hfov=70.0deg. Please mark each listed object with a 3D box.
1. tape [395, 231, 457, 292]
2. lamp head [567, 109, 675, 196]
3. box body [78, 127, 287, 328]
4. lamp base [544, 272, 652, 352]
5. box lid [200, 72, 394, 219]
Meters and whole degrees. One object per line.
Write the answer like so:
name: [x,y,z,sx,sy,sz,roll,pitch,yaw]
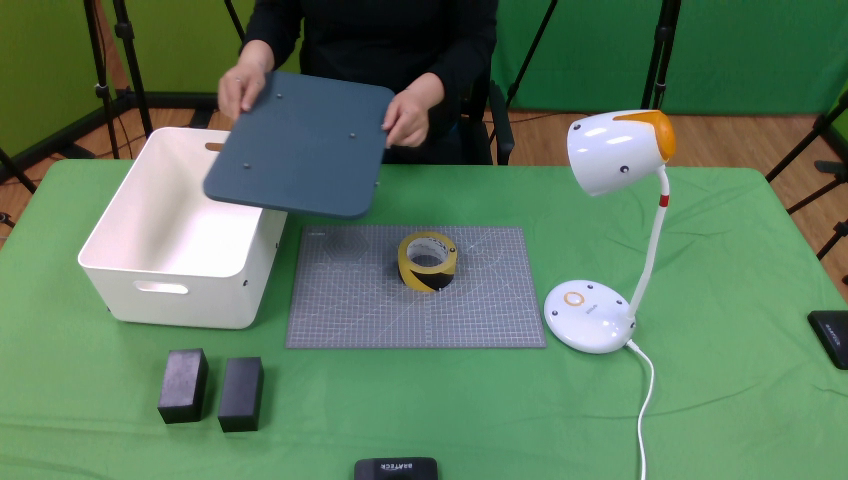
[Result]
tape: [0.005,0.039,1.136,0.117,0.053,0.116,1,47,-1]
lamp head: [0.272,-0.123,0.818,0.122,0.113,0.112,-9,35,37]
box body: [-0.400,-0.027,1.095,0.254,0.161,0.362,4,46,0]
lamp base: [0.310,0.086,1.029,0.178,0.181,0.160,32,52,21]
box lid: [-0.203,-0.177,1.050,0.263,0.015,0.369,8,46,0]
